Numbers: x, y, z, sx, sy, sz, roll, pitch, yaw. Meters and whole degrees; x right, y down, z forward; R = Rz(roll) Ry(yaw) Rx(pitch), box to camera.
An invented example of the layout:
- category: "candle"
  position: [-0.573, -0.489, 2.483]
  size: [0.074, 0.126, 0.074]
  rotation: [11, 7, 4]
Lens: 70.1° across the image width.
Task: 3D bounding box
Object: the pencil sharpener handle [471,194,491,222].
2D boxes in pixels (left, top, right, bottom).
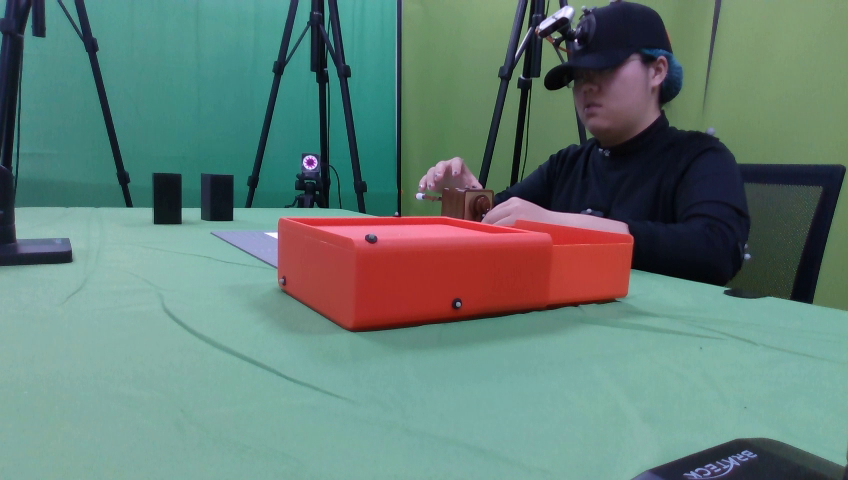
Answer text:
- category: "pencil sharpener handle"
  position: [0.095, -0.038, 0.944]
  size: [0.036, 0.067, 0.030]
  rotation: [8, 4, -31]

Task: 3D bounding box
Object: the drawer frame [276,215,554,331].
- category: "drawer frame"
  position: [-0.015, 0.022, 0.610]
  size: [0.215, 0.082, 0.200]
  rotation: [-2, 9, -32]

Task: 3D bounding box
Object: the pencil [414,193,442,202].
- category: "pencil"
  position: [0.032, -0.070, 1.057]
  size: [0.012, 0.012, 0.193]
  rotation: [-1, 9, -30]

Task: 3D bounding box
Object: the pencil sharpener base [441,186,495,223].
- category: "pencil sharpener base"
  position: [0.070, -0.033, 0.991]
  size: [0.061, 0.107, 0.076]
  rotation: [-1, 9, -30]

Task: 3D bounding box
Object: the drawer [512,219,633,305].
- category: "drawer"
  position: [0.085, 0.021, 0.674]
  size: [0.213, 0.073, 0.193]
  rotation: [-2, 9, -32]
